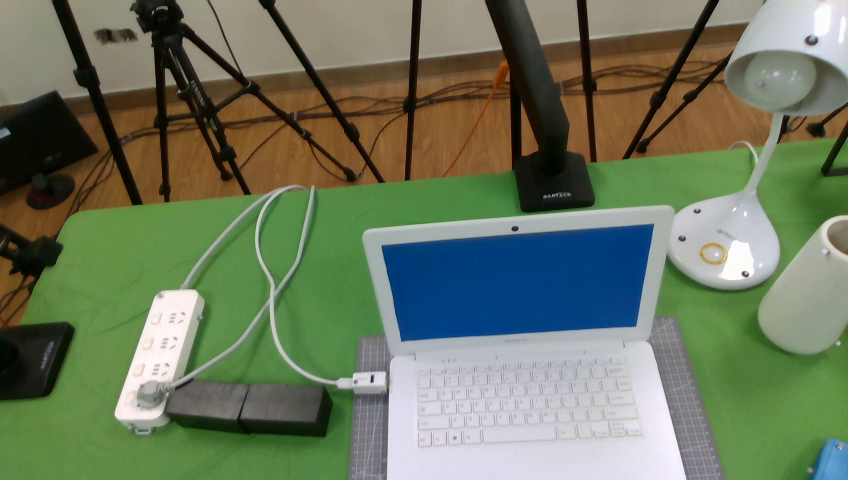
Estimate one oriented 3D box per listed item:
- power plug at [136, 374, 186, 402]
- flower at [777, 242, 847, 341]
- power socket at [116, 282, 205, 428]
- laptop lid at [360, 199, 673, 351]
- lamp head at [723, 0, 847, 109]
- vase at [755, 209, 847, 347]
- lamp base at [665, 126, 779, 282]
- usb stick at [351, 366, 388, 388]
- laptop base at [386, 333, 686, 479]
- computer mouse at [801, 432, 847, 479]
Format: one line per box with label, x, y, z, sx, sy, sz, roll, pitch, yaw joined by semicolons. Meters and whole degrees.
power plug;-0.351;0.203;0.814;0.072;0.053;0.035;7;54;10
flower;0.488;-0.009;0.681;0.038;0.364;0.043;-5;41;-18
power socket;-0.377;0.157;0.877;0.072;0.033;0.224;-2;52;5
laptop lid;0.113;0.054;0.752;0.356;0.244;0.013;-6;42;5
lamp head;0.364;-0.202;0.582;0.112;0.113;0.122;21;76;22
vase;0.481;0.049;0.742;0.098;0.202;0.097;-5;51;6
lamp base;0.435;-0.060;0.844;0.159;0.182;0.178;24;57;23
usb stick;-0.066;0.183;0.809;0.059;0.027;0.021;0;51;2
laptop base;0.128;0.235;0.761;0.354;0.023;0.233;-5;56;4
computer mouse;0.465;0.269;0.678;0.062;0.041;0.117;31;57;31
